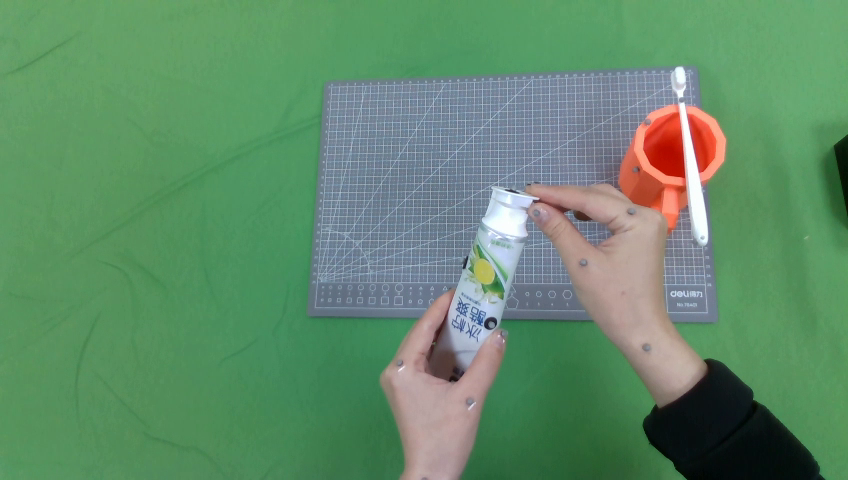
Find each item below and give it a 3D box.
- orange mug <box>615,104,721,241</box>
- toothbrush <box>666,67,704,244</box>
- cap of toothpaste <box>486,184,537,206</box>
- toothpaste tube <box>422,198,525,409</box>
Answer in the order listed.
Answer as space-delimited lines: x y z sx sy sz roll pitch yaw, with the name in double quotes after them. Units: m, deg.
0.250 -0.066 0.634 0.083 0.101 0.125 8 73 10 "orange mug"
0.252 -0.084 0.583 0.014 0.017 0.181 -3 76 4 "toothbrush"
0.060 -0.031 0.422 0.037 0.037 0.011 12 98 11 "cap of toothpaste"
0.038 0.043 0.449 0.054 0.035 0.165 29 112 36 "toothpaste tube"
